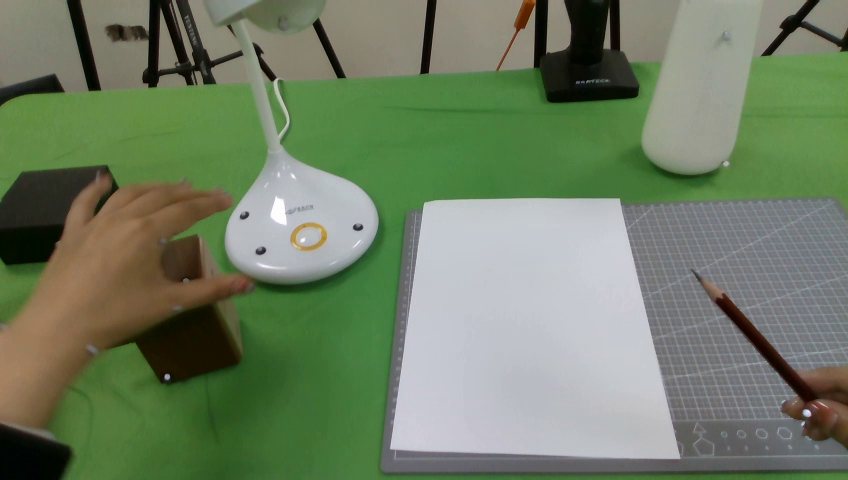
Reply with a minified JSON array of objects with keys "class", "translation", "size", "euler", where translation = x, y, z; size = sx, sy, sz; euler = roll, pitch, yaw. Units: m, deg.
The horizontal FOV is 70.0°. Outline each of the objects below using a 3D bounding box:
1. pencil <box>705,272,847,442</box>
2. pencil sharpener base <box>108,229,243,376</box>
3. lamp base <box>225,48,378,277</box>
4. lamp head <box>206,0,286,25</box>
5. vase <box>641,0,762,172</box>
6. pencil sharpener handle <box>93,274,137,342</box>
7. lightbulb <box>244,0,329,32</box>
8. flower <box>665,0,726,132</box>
[{"class":"pencil","translation":[0.209,0.082,0.326],"size":[0.012,0.195,0.012],"euler":[-43,14,13]},{"class":"pencil sharpener base","translation":[-0.205,0.055,0.508],"size":[0.077,0.108,0.060],"euler":[-16,44,-10]},{"class":"lamp base","translation":[-0.141,-0.083,0.595],"size":[0.161,0.182,0.177],"euler":[-23,44,-18]},{"class":"lamp head","translation":[-0.105,-0.208,0.368],"size":[0.112,0.123,0.112],"euler":[-24,17,8]},{"class":"vase","translation":[0.288,-0.171,0.634],"size":[0.098,0.202,0.097],"euler":[-4,42,4]},{"class":"pencil sharpener handle","translation":[-0.255,0.059,0.490],"size":[0.031,0.068,0.035],"euler":[-16,47,-10]},{"class":"lightbulb","translation":[-0.094,-0.184,0.371],"size":[0.059,0.108,0.059],"euler":[-13,20,5]},{"class":"flower","translation":[0.275,-0.217,0.563],"size":[0.043,0.365,0.038],"euler":[40,72,22]}]
